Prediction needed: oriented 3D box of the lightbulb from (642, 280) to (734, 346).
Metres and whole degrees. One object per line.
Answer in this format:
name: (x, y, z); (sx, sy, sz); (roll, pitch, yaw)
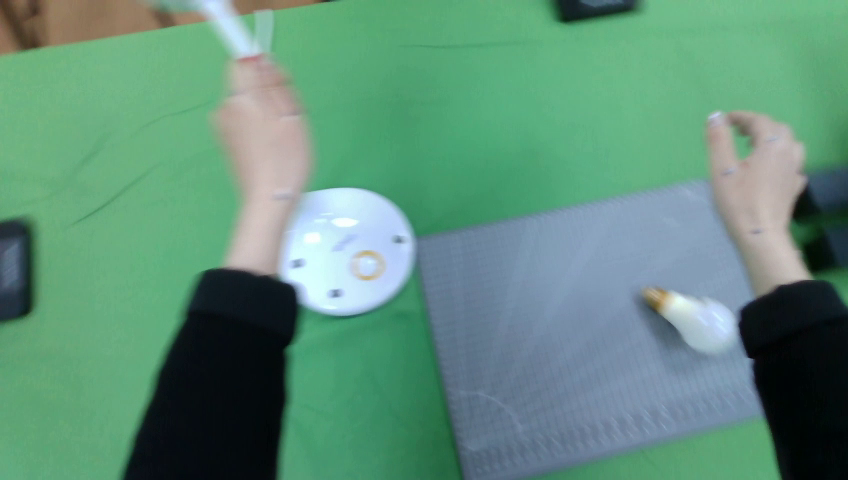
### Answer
lightbulb: (0.302, 0.079, 0.699); (0.107, 0.060, 0.059); (33, 74, 25)

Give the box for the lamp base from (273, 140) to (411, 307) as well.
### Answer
lamp base: (-0.105, -0.029, 0.656); (0.178, 0.181, 0.160); (33, 74, 12)

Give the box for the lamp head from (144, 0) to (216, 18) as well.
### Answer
lamp head: (-0.185, -0.213, 0.412); (0.112, 0.123, 0.112); (1, 77, -4)
